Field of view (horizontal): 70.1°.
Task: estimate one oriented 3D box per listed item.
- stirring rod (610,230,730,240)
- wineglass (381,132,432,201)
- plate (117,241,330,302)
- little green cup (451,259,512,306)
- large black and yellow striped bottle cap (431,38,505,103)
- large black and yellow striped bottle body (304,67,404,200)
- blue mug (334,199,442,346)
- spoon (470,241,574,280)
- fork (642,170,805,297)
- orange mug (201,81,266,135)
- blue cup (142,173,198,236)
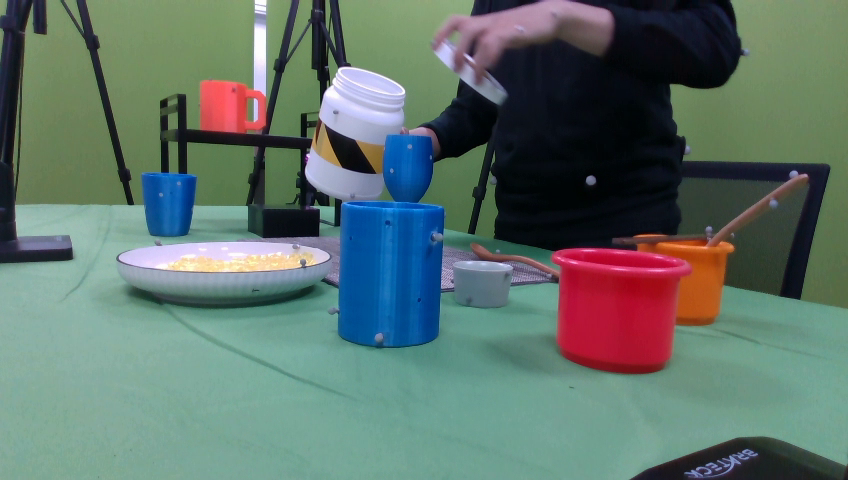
[{"bbox_3d":[0.241,-0.005,0.581,0.177,0.006,0.014,-2,9,-34],"label":"stirring rod"},{"bbox_3d":[-0.026,-0.062,0.841,0.074,0.172,0.073,2,7,0],"label":"wineglass"},{"bbox_3d":[-0.203,0.031,0.630,0.209,0.038,0.209,3,7,0],"label":"plate"},{"bbox_3d":[0.057,0.043,0.611,0.061,0.038,0.061,3,7,0],"label":"little green cup"},{"bbox_3d":[0.060,-0.227,0.808,0.115,0.019,0.115,35,21,-15],"label":"large black and yellow striped bottle cap"},{"bbox_3d":[-0.109,-0.170,0.969,0.131,0.184,0.130,17,26,-8],"label":"large black and yellow striped bottle body"},{"bbox_3d":[-0.034,0.020,0.498,0.083,0.106,0.116,0,7,-19],"label":"blue mug"},{"bbox_3d":[0.124,0.025,0.800,0.042,0.021,0.192,23,-6,-34],"label":"spoon"},{"bbox_3d":[0.261,0.004,0.545,0.028,0.018,0.207,5,-37,-16],"label":"fork"},{"bbox_3d":[-0.376,-0.260,1.198,0.126,0.101,0.083,-3,8,-6],"label":"orange mug"},{"bbox_3d":[-0.425,-0.060,1.014,0.093,0.100,0.092,4,9,0],"label":"blue cup"}]
